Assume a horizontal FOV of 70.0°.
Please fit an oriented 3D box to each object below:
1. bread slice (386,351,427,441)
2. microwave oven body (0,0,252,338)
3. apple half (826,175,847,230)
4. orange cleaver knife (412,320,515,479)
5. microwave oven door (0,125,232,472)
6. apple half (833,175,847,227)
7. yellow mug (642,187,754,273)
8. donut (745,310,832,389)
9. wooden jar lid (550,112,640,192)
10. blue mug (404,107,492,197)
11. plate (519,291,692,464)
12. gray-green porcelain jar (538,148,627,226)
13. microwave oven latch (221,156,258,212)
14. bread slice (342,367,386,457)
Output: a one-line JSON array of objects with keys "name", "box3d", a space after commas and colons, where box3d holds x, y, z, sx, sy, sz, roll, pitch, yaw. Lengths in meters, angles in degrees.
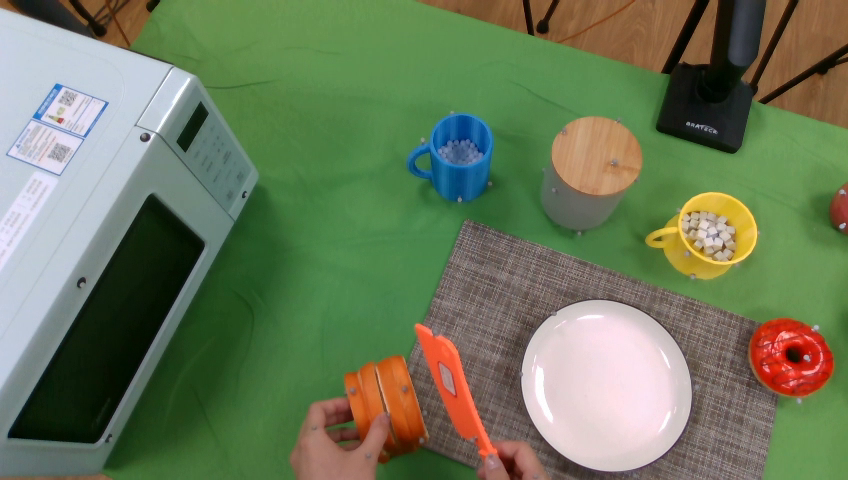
[{"name": "bread slice", "box3d": [-0.021, 0.181, 0.704, 0.019, 0.132, 0.104, -17, 73, -7]}, {"name": "microwave oven body", "box3d": [-0.465, -0.007, 0.711, 0.325, 0.262, 0.440, 20, 73, 8]}, {"name": "apple half", "box3d": [0.558, -0.044, 0.801, 0.033, 0.082, 0.080, -11, 70, -7]}, {"name": "orange cleaver knife", "box3d": [0.043, 0.173, 0.603, 0.012, 0.077, 0.212, -31, 103, -28]}, {"name": "microwave oven door", "box3d": [-0.346, 0.077, 0.673, 0.039, 0.245, 0.354, 20, 72, 8]}, {"name": "apple half", "box3d": [0.596, -0.053, 0.805, 0.053, 0.075, 0.080, -10, 67, -7]}, {"name": "yellow mug", "box3d": [0.355, -0.011, 0.800, 0.131, 0.064, 0.099, -3, 71, 1]}, {"name": "donut", "box3d": [0.451, 0.137, 0.754, 0.099, 0.048, 0.098, 0, 72, 2]}, {"name": "wooden jar lid", "box3d": [0.206, -0.105, 0.738, 0.108, 0.021, 0.107, 0, 69, 1]}, {"name": "blue mug", "box3d": [0.031, -0.116, 0.823, 0.116, 0.106, 0.082, -5, 70, 0]}, {"name": "plate", "box3d": [0.220, 0.168, 0.752, 0.207, 0.039, 0.206, 0, 71, 2]}, {"name": "gray-green porcelain jar", "box3d": [0.208, -0.084, 0.797, 0.106, 0.127, 0.105, 0, 70, 1]}, {"name": "microwave oven latch", "box3d": [-0.259, -0.080, 0.833, 0.030, 0.030, 0.079, 24, 74, 9]}, {"name": "bread slice", "box3d": [-0.070, 0.196, 0.704, 0.018, 0.135, 0.106, -19, 70, -6]}]
